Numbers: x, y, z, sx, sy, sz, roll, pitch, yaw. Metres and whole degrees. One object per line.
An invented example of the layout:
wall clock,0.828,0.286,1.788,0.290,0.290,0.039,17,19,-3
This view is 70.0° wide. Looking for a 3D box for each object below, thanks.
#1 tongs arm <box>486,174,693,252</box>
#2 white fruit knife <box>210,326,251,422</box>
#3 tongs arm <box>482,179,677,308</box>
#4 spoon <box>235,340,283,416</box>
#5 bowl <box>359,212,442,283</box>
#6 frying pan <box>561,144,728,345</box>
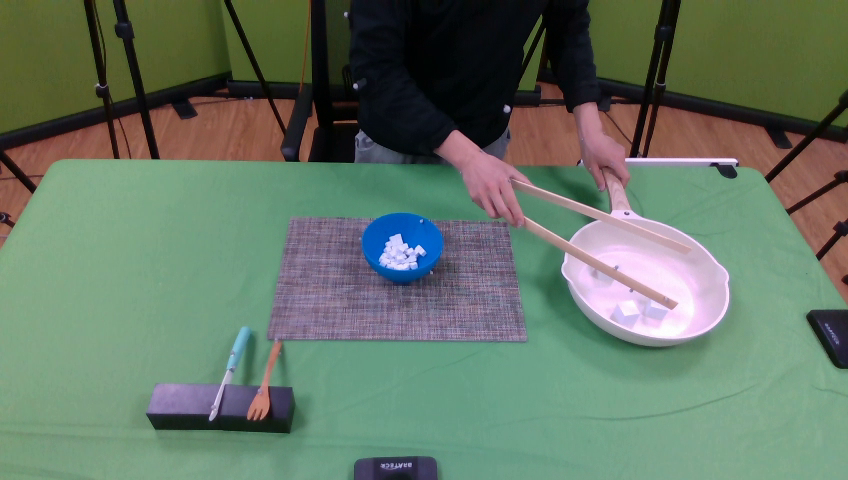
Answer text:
tongs arm,0.299,-0.049,1.104,0.387,0.028,0.028,20,62,3
white fruit knife,-0.300,0.201,0.942,0.016,0.027,0.206,-3,32,1
tongs arm,0.268,0.003,1.065,0.384,0.026,0.050,29,59,9
spoon,-0.245,0.207,0.932,0.042,0.021,0.193,31,24,-9
bowl,-0.044,0.026,1.125,0.151,0.077,0.150,2,46,-2
frying pan,0.397,-0.008,1.179,0.307,0.103,0.485,2,55,-4
